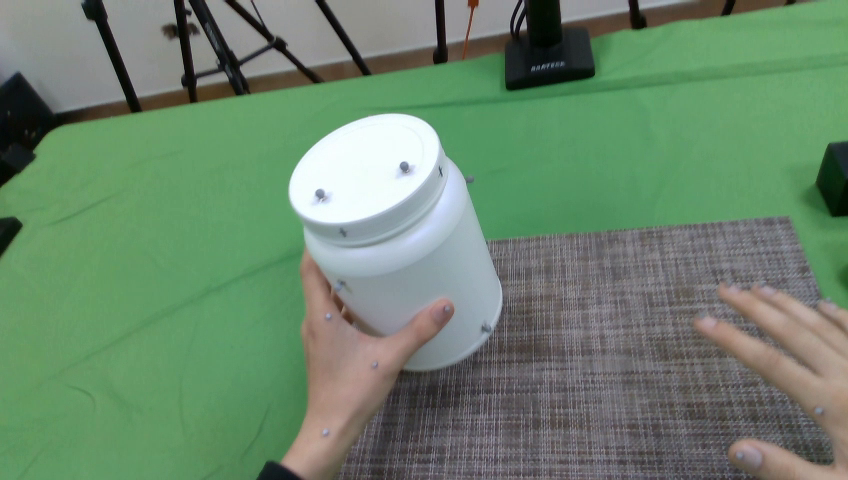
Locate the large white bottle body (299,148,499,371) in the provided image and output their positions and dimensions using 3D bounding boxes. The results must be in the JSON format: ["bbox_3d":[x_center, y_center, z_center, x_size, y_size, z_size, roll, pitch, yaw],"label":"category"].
[{"bbox_3d":[-0.020,0.007,0.492,0.130,0.186,0.129,-12,46,13],"label":"large white bottle body"}]

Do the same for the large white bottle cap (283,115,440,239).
[{"bbox_3d":[-0.045,-0.048,0.432,0.114,0.018,0.113,-11,46,12],"label":"large white bottle cap"}]
